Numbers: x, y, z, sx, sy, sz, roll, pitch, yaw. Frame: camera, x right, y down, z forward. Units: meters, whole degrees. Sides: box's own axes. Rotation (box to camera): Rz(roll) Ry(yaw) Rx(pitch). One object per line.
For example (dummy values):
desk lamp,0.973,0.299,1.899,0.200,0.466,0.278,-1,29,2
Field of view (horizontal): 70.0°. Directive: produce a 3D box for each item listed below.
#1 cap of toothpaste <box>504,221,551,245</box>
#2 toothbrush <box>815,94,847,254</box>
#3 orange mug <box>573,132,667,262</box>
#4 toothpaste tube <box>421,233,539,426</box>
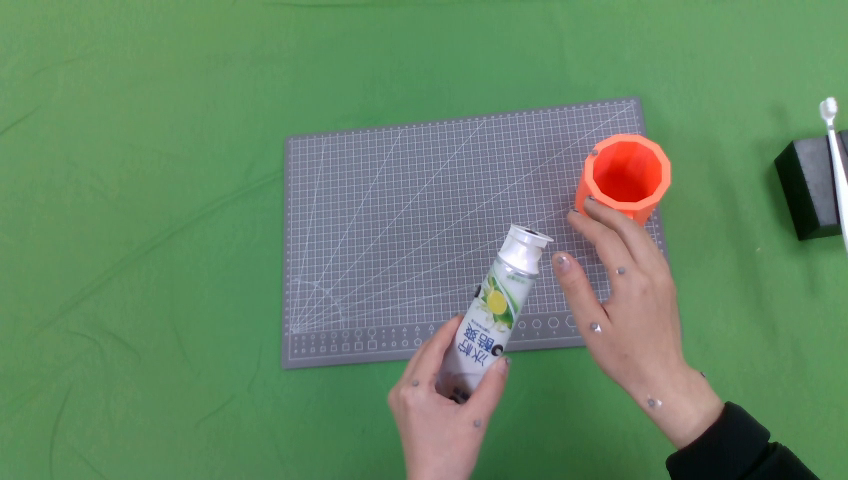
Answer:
cap of toothpaste,0.078,-0.005,0.459,0.037,0.037,0.011,18,97,12
toothbrush,0.434,-0.072,0.634,0.014,0.017,0.181,0,73,4
orange mug,0.210,-0.043,0.659,0.083,0.101,0.125,3,69,8
toothpaste tube,0.047,0.067,0.482,0.054,0.035,0.165,32,108,30
